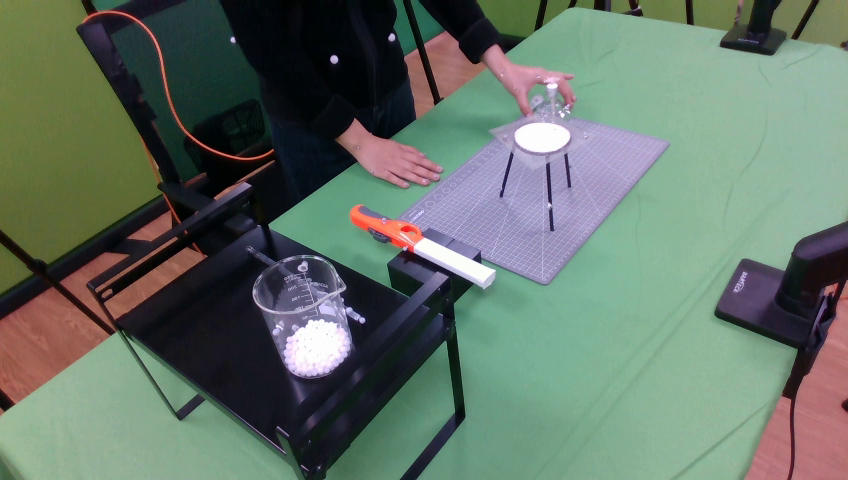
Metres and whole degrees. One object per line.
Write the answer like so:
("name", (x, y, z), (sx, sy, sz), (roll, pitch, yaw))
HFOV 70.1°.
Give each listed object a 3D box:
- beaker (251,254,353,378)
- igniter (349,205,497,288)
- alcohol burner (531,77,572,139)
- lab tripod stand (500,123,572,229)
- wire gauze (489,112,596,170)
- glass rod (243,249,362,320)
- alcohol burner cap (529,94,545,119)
("beaker", (-0.106, 0.074, 0.565), (0.084, 0.101, 0.073), (-1, 41, 8))
("igniter", (-0.013, 0.004, 0.897), (0.274, 0.025, 0.057), (25, 44, 32))
("alcohol burner", (0.245, -0.256, 1.165), (0.078, 0.120, 0.077), (-6, 40, 6))
("lab tripod stand", (0.194, -0.110, 0.985), (0.148, 0.132, 0.147), (-3, 41, 3))
("wire gauze", (0.183, -0.161, 0.942), (0.122, 0.011, 0.124), (-24, 44, -18))
("glass rod", (-0.141, 0.046, 0.674), (0.198, 0.008, 0.008), (24, 49, 32))
("alcohol burner cap", (0.233, -0.277, 1.246), (0.034, 0.048, 0.033), (-5, 41, 5))
